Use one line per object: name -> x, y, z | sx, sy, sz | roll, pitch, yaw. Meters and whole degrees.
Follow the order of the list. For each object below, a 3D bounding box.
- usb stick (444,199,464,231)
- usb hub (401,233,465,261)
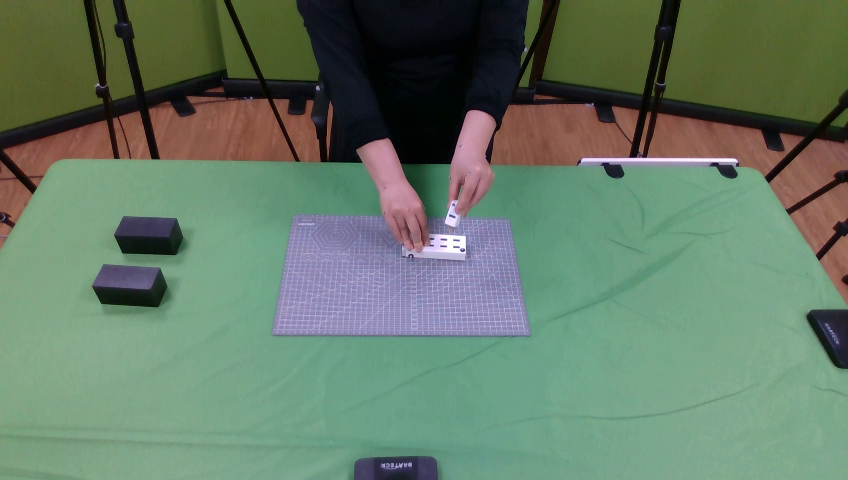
usb stick -> 0.052, -0.042, 1.087 | 0.021, 0.059, 0.027 | 21, 23, 14
usb hub -> 0.018, 0.014, 1.180 | 0.125, 0.025, 0.049 | 4, 46, 0
